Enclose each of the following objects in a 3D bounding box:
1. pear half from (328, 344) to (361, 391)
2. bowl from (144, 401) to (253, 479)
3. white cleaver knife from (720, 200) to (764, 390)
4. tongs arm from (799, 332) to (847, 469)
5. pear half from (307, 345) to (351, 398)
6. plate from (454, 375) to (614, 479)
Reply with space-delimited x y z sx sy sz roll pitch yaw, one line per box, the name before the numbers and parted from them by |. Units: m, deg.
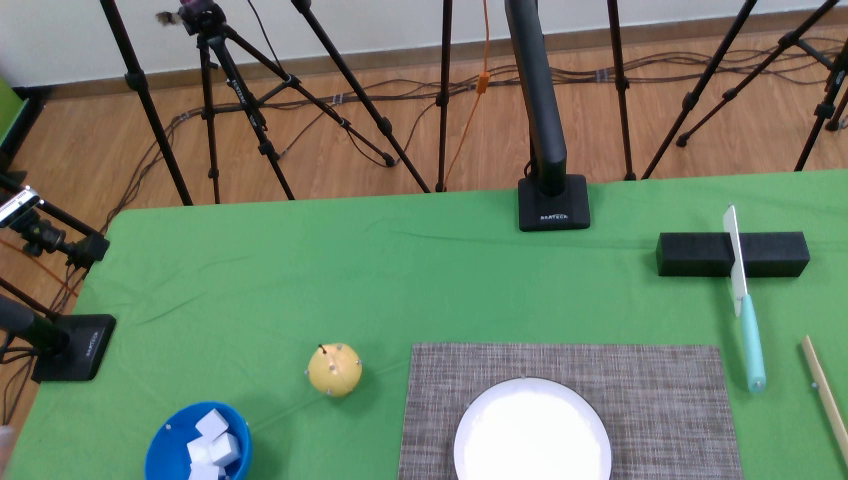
pear half | -0.114 0.184 0.906 0.031 0.089 0.069 -23 44 -5
bowl | -0.305 0.314 0.859 0.151 0.077 0.150 -5 55 7
white cleaver knife | 0.459 0.075 0.880 0.021 0.066 0.284 -2 65 15
tongs arm | 0.541 0.290 0.741 0.028 0.028 0.383 -6 55 5
pear half | -0.149 0.190 0.896 0.056 0.111 0.075 -24 44 -7
plate | 0.146 0.285 0.811 0.207 0.039 0.205 -5 55 8
